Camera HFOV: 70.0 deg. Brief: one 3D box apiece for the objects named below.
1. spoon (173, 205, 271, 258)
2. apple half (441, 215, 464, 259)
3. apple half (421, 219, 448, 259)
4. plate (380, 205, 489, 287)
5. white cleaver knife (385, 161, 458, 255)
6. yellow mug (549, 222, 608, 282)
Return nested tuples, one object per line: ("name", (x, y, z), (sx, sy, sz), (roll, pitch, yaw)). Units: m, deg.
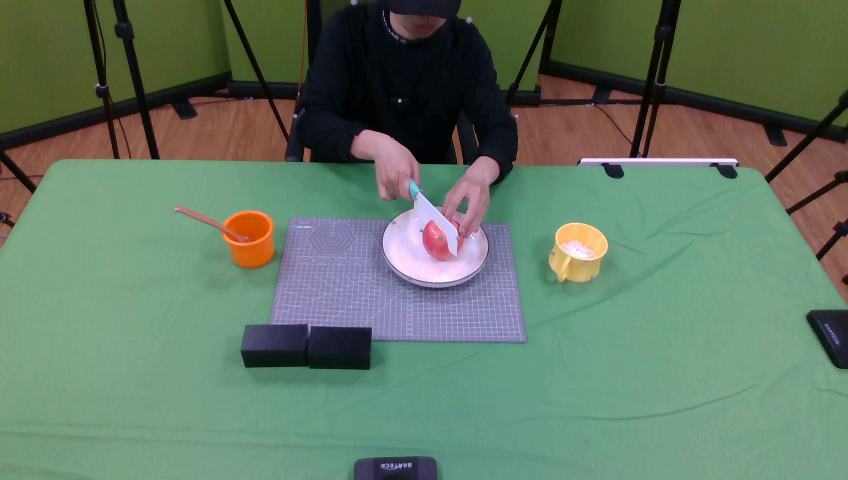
("spoon", (-0.362, -0.017, 1.098), (0.021, 0.195, 0.041), (-32, 42, 27))
("apple half", (0.048, -0.007, 1.156), (0.053, 0.075, 0.080), (-15, 43, -25))
("apple half", (0.012, 0.005, 1.141), (0.033, 0.081, 0.081), (-19, 50, -24))
("plate", (0.020, 0.015, 1.170), (0.209, 0.038, 0.208), (2, 46, -2))
("white cleaver knife", (-0.011, -0.068, 1.173), (0.021, 0.066, 0.284), (-15, 42, -24))
("yellow mug", (0.287, 0.031, 1.159), (0.099, 0.064, 0.130), (27, 51, 21))
